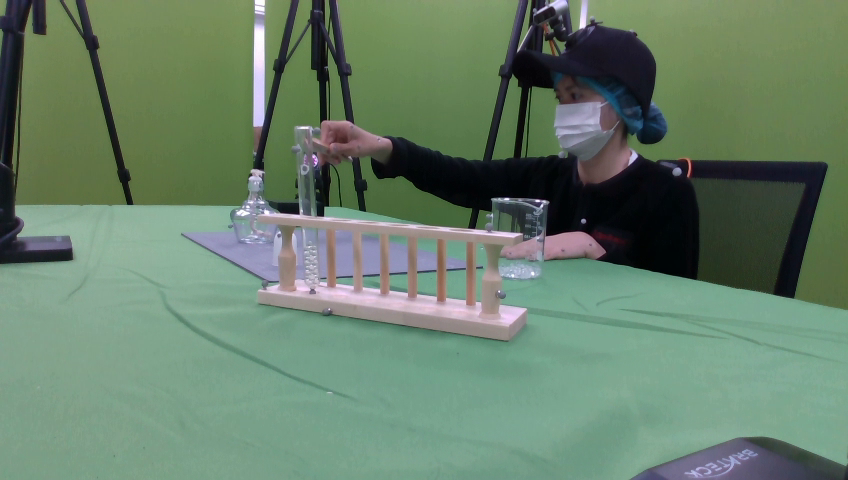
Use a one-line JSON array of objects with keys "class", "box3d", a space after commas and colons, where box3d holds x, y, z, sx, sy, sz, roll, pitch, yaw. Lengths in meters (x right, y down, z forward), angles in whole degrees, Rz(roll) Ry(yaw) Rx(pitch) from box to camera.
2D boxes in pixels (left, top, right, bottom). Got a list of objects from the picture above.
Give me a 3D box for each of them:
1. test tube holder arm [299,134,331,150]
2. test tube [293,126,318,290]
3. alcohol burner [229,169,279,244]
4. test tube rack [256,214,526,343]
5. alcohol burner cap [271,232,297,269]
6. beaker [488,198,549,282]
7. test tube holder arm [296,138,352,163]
[{"class": "test tube holder arm", "box3d": [-0.183, -0.163, 1.023, 0.010, 0.015, 0.088, -36, -13, 14]}, {"class": "test tube", "box3d": [-0.107, -0.027, 0.550, 0.017, 0.150, 0.017, -1, 11, 0]}, {"class": "alcohol burner", "box3d": [-0.268, -0.053, 0.958, 0.078, 0.119, 0.078, 2, 5, 0]}, {"class": "test tube rack", "box3d": [-0.032, 0.027, 0.547, 0.241, 0.085, 0.067, 5, 7, 22]}, {"class": "alcohol burner cap", "box3d": [-0.175, 0.012, 0.761, 0.034, 0.048, 0.034, 2, 8, 0]}, {"class": "beaker", "box3d": [0.120, -0.001, 0.768, 0.074, 0.100, 0.083, -1, 9, -25]}, {"class": "test tube holder arm", "box3d": [-0.172, -0.157, 1.068, 0.013, 0.015, 0.179, -36, -13, 14]}]
